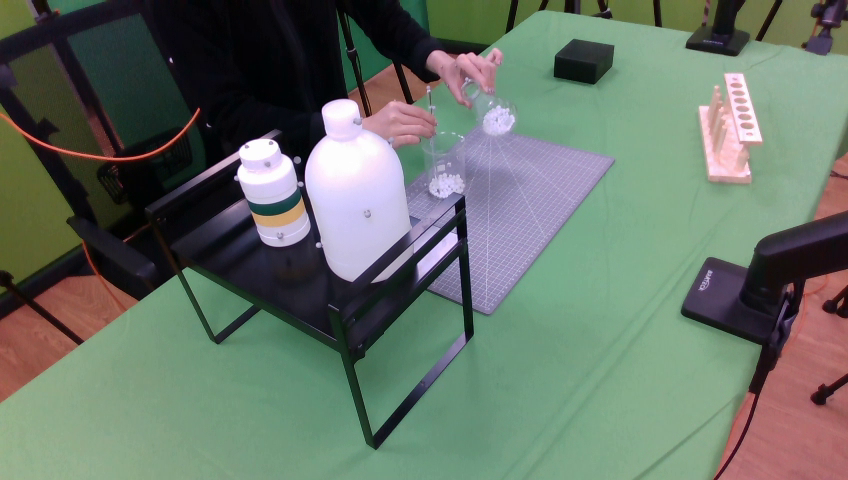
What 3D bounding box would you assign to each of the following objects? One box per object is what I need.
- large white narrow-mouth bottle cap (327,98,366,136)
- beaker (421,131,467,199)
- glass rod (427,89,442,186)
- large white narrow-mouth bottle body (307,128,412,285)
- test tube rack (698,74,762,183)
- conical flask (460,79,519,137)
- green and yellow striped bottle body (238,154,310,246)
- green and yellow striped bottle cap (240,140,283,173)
[{"bbox_3d":[-0.075,-0.118,0.581,0.038,0.024,0.037,-3,40,3],"label":"large white narrow-mouth bottle cap"},{"bbox_3d":[0.040,-0.130,1.060,0.084,0.100,0.073,-24,44,-20],"label":"beaker"},{"bbox_3d":[0.019,-0.167,1.017,0.008,0.200,0.008,-4,46,5],"label":"glass rod"},{"bbox_3d":[-0.070,-0.051,0.638,0.102,0.195,0.101,-3,40,3],"label":"large white narrow-mouth bottle body"},{"bbox_3d":[0.547,-0.208,1.095,0.066,0.085,0.242,5,42,15],"label":"test tube rack"},{"bbox_3d":[0.109,-0.237,1.059,0.075,0.123,0.075,-11,68,31],"label":"conical flask"},{"bbox_3d":[-0.178,-0.056,0.714,0.063,0.120,0.063,-4,40,4],"label":"green and yellow striped bottle body"},{"bbox_3d":[-0.183,-0.094,0.679,0.045,0.020,0.045,-4,38,4],"label":"green and yellow striped bottle cap"}]
